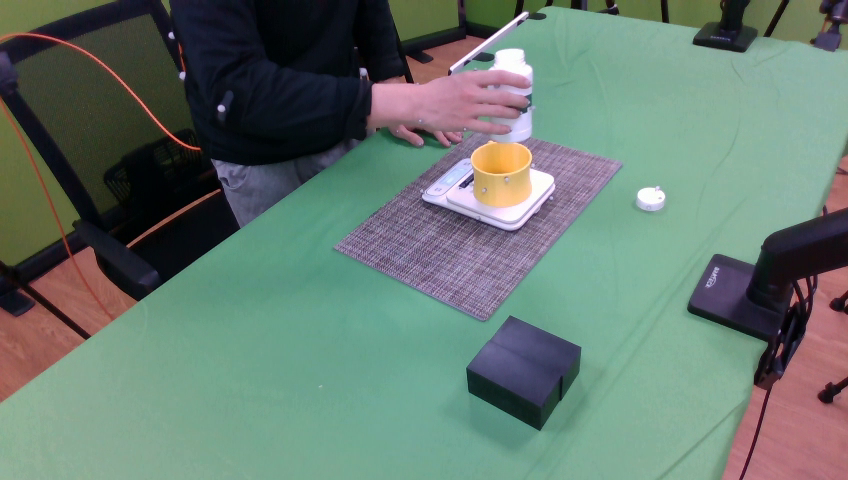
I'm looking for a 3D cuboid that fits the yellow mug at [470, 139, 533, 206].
[{"bbox_3d":[0.125,-0.121,1.004,0.100,0.064,0.130,-13,41,-5],"label":"yellow mug"}]

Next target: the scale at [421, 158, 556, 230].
[{"bbox_3d":[0.110,-0.089,1.042,0.199,0.032,0.149,23,48,31],"label":"scale"}]

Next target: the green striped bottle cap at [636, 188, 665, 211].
[{"bbox_3d":[0.374,-0.067,0.998,0.044,0.020,0.044,-6,39,5],"label":"green striped bottle cap"}]

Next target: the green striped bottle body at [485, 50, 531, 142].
[{"bbox_3d":[0.119,-0.203,0.852,0.063,0.119,0.063,-4,30,3],"label":"green striped bottle body"}]
